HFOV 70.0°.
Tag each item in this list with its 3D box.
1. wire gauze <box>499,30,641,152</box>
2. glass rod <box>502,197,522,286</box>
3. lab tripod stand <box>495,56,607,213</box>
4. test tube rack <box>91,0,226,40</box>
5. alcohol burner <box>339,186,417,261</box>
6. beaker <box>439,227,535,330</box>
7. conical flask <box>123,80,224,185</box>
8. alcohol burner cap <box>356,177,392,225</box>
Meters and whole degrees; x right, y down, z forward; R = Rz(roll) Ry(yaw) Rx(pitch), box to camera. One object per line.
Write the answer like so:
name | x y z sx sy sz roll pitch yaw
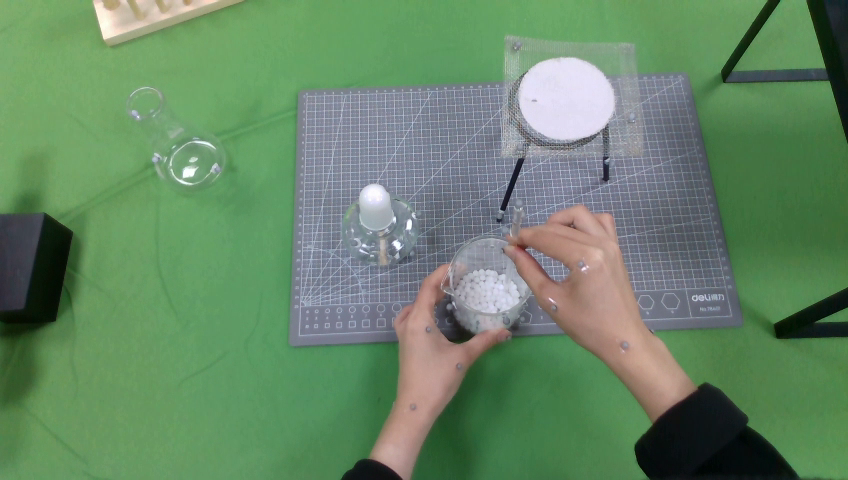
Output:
wire gauze | 0.128 -0.133 0.537 0.121 0.011 0.124 3 70 1
glass rod | 0.073 0.007 0.511 0.008 0.201 0.008 -1 69 4
lab tripod stand | 0.123 -0.105 0.599 0.148 0.132 0.147 0 68 0
test tube rack | -0.286 -0.328 0.716 0.242 0.086 0.066 -22 71 -7
alcohol burner | -0.045 -0.024 0.584 0.078 0.120 0.077 0 68 0
beaker | 0.056 0.042 0.566 0.084 0.101 0.073 -12 69 -2
conical flask | -0.260 -0.113 0.618 0.075 0.122 0.075 0 69 2
alcohol burner cap | -0.047 -0.038 0.550 0.034 0.048 0.033 1 63 -1
